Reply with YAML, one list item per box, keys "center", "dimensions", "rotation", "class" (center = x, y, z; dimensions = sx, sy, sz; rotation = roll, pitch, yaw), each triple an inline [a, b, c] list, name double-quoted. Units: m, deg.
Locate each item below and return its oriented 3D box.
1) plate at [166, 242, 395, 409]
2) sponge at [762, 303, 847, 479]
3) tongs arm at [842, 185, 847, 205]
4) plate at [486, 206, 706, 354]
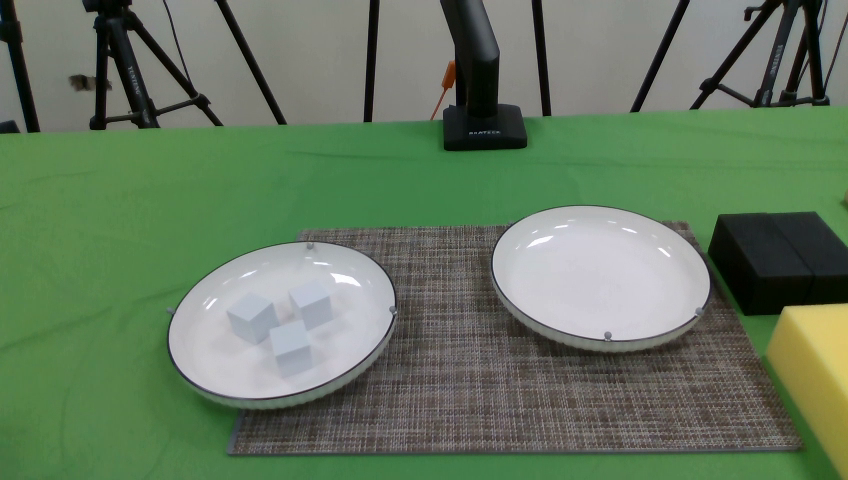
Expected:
- center: [-0.129, 0.079, 0.570]
  dimensions: [0.209, 0.038, 0.207]
  rotation: [-2, 37, 2]
  class: "plate"
- center: [0.363, 0.138, 0.448]
  dimensions: [0.118, 0.061, 0.204]
  rotation: [-4, 38, -1]
  class: "sponge"
- center: [0.522, 0.057, 0.570]
  dimensions: [0.028, 0.028, 0.383]
  rotation: [-3, 38, -4]
  class: "tongs arm"
- center: [0.165, 0.039, 0.603]
  dimensions: [0.207, 0.039, 0.205]
  rotation: [-2, 38, 2]
  class: "plate"
